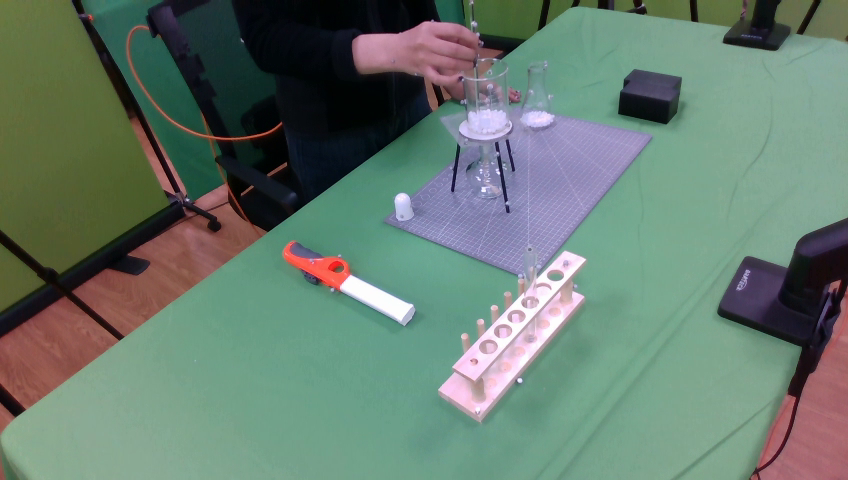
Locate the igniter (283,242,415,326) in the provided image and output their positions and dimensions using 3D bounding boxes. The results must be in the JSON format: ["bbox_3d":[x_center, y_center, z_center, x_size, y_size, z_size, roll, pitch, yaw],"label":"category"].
[{"bbox_3d":[-0.126,0.062,0.931,0.274,0.025,0.057,24,61,33],"label":"igniter"}]

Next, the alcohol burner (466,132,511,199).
[{"bbox_3d":[0.110,-0.132,1.044,0.078,0.119,0.077,-6,38,5],"label":"alcohol burner"}]

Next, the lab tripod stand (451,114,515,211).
[{"bbox_3d":[0.113,-0.140,1.037,0.148,0.132,0.147,-6,38,5],"label":"lab tripod stand"}]

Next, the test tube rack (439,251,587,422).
[{"bbox_3d":[0.118,0.111,0.780,0.066,0.085,0.243,26,51,35],"label":"test tube rack"}]

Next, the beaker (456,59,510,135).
[{"bbox_3d":[0.097,-0.226,0.964,0.084,0.101,0.073,-7,39,4],"label":"beaker"}]

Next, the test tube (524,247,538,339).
[{"bbox_3d":[0.133,0.070,0.749,0.017,0.151,0.017,-5,38,4],"label":"test tube"}]

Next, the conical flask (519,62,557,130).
[{"bbox_3d":[0.225,-0.287,1.199,0.075,0.122,0.075,-6,40,5],"label":"conical flask"}]

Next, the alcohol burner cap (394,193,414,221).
[{"bbox_3d":[-0.036,-0.059,1.040,0.034,0.048,0.033,-5,41,5],"label":"alcohol burner cap"}]

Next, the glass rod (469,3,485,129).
[{"bbox_3d":[0.081,-0.255,0.908,0.008,0.200,0.008,-6,39,6],"label":"glass rod"}]

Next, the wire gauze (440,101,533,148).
[{"bbox_3d":[0.100,-0.189,0.995,0.125,0.011,0.120,-16,38,-6],"label":"wire gauze"}]
